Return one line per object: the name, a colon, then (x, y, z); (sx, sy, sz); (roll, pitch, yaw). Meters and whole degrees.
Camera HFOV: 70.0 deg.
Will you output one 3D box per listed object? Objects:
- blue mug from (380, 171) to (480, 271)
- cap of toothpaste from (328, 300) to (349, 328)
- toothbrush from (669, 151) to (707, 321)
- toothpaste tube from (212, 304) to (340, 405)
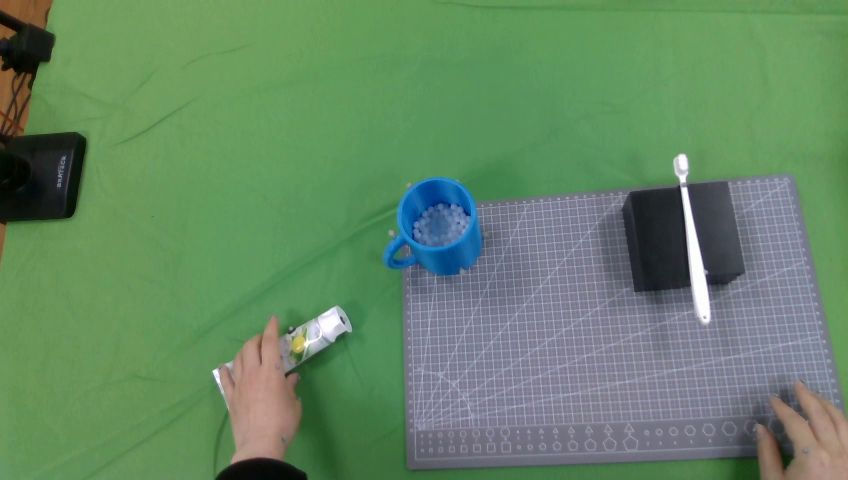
blue mug: (0.004, -0.009, 0.666); (0.116, 0.106, 0.082); (-32, 72, -1)
cap of toothpaste: (-0.098, 0.086, 0.692); (0.011, 0.037, 0.037); (-31, 72, 3)
toothbrush: (0.272, -0.008, 0.622); (0.014, 0.017, 0.181); (-2, 74, 2)
toothpaste tube: (-0.167, 0.124, 0.697); (0.165, 0.035, 0.054); (-31, 66, 2)
